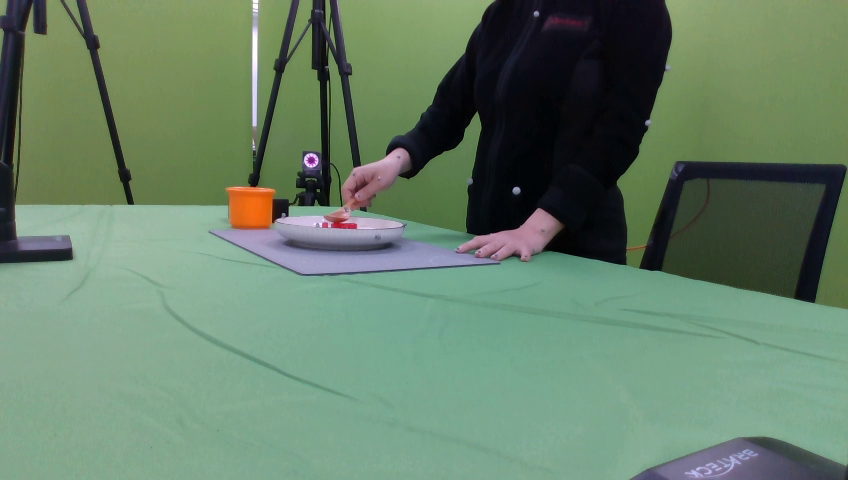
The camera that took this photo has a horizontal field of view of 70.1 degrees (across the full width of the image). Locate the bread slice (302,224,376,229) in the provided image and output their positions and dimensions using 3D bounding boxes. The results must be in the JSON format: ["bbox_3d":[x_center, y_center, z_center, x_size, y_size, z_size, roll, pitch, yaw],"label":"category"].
[{"bbox_3d":[-0.134,-0.011,0.974,0.135,0.018,0.106,-2,8,-33],"label":"bread slice"}]

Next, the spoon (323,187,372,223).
[{"bbox_3d":[-0.124,-0.065,1.046,0.041,0.021,0.194,4,24,15],"label":"spoon"}]

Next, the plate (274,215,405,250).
[{"bbox_3d":[-0.136,-0.013,0.981,0.209,0.038,0.209,2,7,0],"label":"plate"}]
